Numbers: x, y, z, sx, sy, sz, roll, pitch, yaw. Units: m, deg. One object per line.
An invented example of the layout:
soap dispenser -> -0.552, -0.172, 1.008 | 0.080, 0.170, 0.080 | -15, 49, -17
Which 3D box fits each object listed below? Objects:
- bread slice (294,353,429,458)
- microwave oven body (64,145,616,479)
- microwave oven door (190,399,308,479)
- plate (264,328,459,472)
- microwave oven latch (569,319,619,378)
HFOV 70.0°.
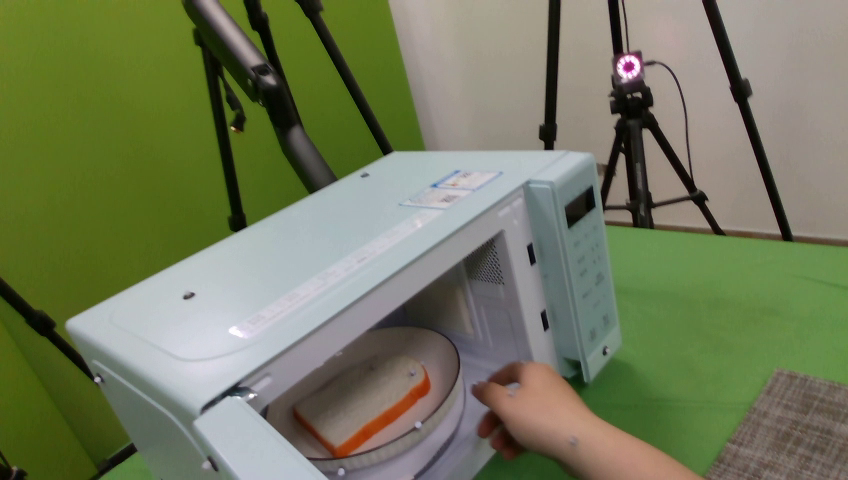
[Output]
bread slice -> -0.063, 0.166, 0.633 | 0.131, 0.019, 0.104 | -33, 29, -27
microwave oven body -> -0.057, 0.100, 0.635 | 0.323, 0.262, 0.441 | 9, 34, 44
microwave oven door -> 0.010, 0.230, 0.276 | 0.039, 0.245, 0.353 | -31, 27, -31
plate -> -0.061, 0.165, 0.629 | 0.209, 0.038, 0.207 | -15, 21, 6
microwave oven latch -> 0.190, 0.118, 0.679 | 0.030, 0.030, 0.079 | 9, 34, 44
